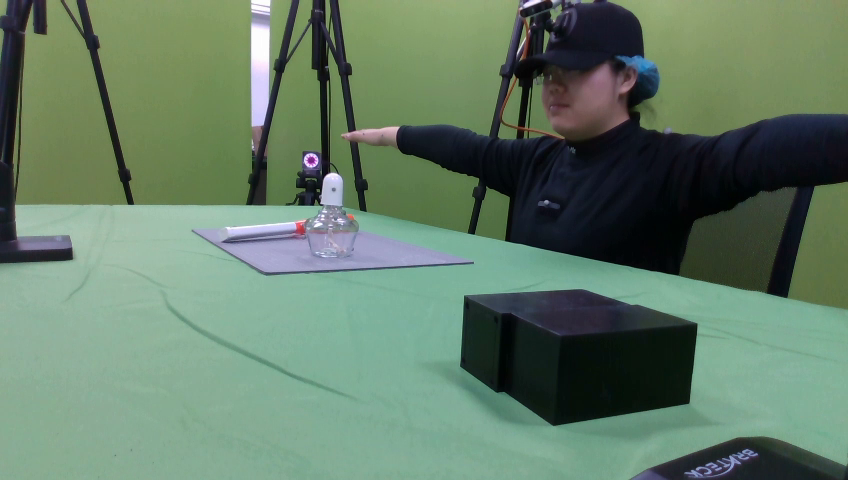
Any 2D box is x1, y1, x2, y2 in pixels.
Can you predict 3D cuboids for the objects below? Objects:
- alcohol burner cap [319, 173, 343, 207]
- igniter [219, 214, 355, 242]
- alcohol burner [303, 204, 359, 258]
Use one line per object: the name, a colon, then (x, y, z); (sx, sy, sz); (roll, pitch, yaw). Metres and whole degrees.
alcohol burner cap: (-0.129, -0.070, 0.845); (0.034, 0.048, 0.034); (4, 4, 0)
igniter: (-0.219, -0.021, 1.033); (0.057, 0.025, 0.278); (-20, -7, 39)
alcohol burner: (-0.130, -0.035, 0.850); (0.078, 0.119, 0.078); (2, 5, 0)
